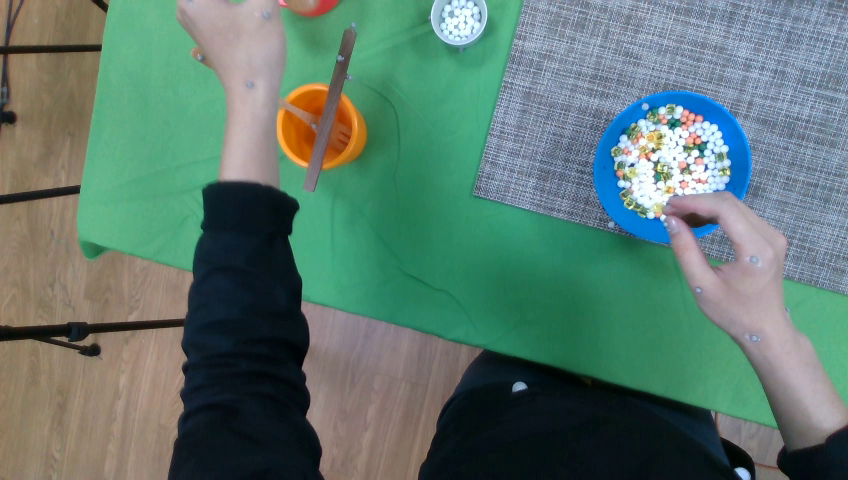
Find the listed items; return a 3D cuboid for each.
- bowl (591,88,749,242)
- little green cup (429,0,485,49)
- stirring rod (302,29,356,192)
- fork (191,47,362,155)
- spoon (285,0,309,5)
[{"bbox_3d":[0.248,-0.075,0.637,0.151,0.077,0.151,1,96,8],"label":"bowl"},{"bbox_3d":[0.038,-0.243,0.671,0.061,0.038,0.061,1,96,9],"label":"little green cup"},{"bbox_3d":[-0.101,-0.136,0.644,0.014,0.006,0.176,18,99,11],"label":"stirring rod"},{"bbox_3d":[-0.152,-0.147,0.652,0.209,0.018,0.028,27,105,-40],"label":"fork"},{"bbox_3d":[-0.142,-0.241,0.491,0.021,0.194,0.041,25,97,16],"label":"spoon"}]
